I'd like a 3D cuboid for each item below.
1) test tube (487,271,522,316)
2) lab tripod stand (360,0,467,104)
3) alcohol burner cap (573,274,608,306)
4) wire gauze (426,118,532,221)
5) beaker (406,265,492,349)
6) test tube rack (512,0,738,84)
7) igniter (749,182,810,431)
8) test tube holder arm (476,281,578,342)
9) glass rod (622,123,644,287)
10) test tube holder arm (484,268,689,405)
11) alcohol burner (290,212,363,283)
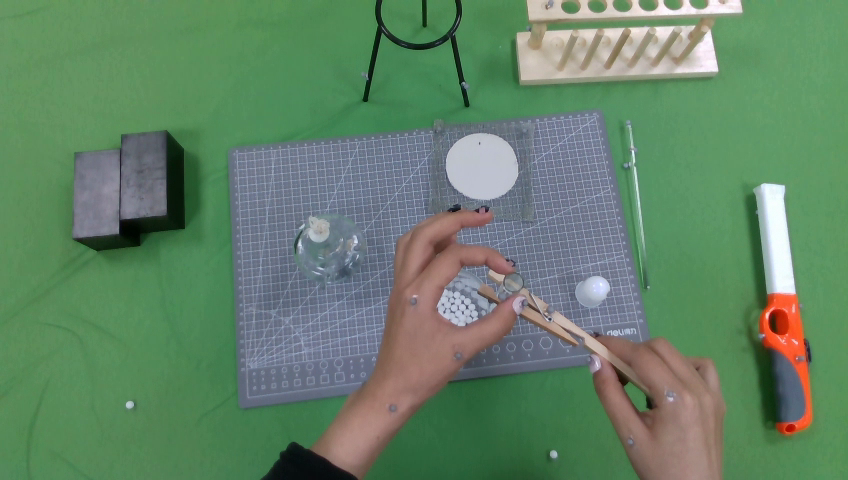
[{"bbox_3d":[0.065,0.047,0.501,0.017,0.151,0.017,0,76,2],"label":"test tube"},{"bbox_3d":[-0.011,-0.219,0.684,0.148,0.132,0.147,0,77,0],"label":"lab tripod stand"},{"bbox_3d":[0.184,0.052,0.661,0.034,0.048,0.033,0,75,0],"label":"alcohol burner cap"},{"bbox_3d":[0.066,-0.086,0.713,0.125,0.011,0.121,4,77,0],"label":"wire gauze"},{"bbox_3d":[0.024,0.074,0.624,0.084,0.101,0.073,-14,75,-4],"label":"beaker"},{"bbox_3d":[0.233,-0.241,0.718,0.242,0.085,0.066,-3,75,-1],"label":"test tube rack"},{"bbox_3d":[0.392,0.068,0.671,0.057,0.025,0.275,4,75,-10],"label":"igniter"},{"bbox_3d":[0.082,0.056,0.476,0.087,0.015,0.010,26,88,10],"label":"test tube holder arm"},{"bbox_3d":[0.244,-0.043,0.706,0.008,0.008,0.199,-1,78,-1],"label":"glass rod"},{"bbox_3d":[0.123,0.073,0.469,0.178,0.015,0.013,31,89,10],"label":"test tube holder arm"},{"bbox_3d":[-0.105,0.003,0.632,0.078,0.120,0.077,0,74,2],"label":"alcohol burner"}]
